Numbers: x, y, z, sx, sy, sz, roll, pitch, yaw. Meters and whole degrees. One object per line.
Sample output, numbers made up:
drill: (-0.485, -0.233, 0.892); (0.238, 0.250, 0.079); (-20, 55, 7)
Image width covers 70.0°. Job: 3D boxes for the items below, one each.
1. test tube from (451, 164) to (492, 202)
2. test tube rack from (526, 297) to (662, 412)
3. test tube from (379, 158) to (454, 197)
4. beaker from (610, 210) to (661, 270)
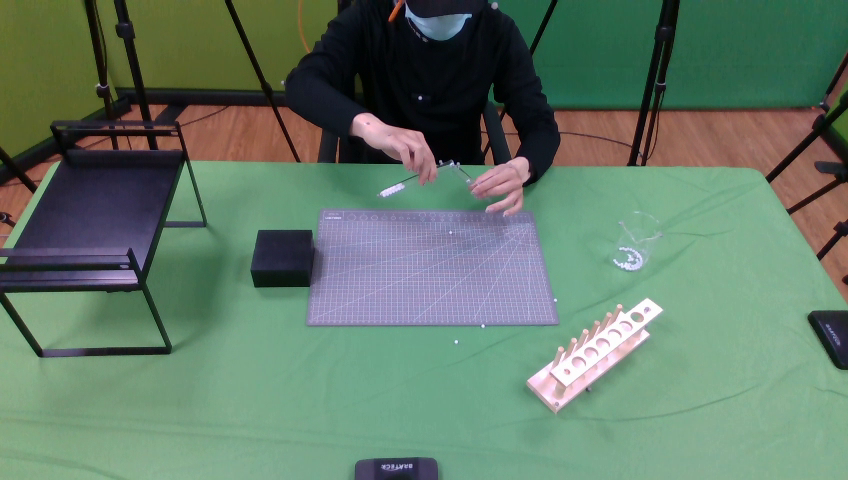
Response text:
test tube: (0.096, -0.110, 1.185); (0.017, 0.151, 0.017); (-14, 62, 29)
test tube rack: (0.284, 0.176, 1.007); (0.242, 0.085, 0.066); (-29, 54, -27)
test tube: (-0.013, -0.114, 1.112); (0.150, 0.017, 0.017); (-25, 52, -9)
beaker: (0.404, 0.005, 1.170); (0.074, 0.101, 0.083); (19, 49, 15)
